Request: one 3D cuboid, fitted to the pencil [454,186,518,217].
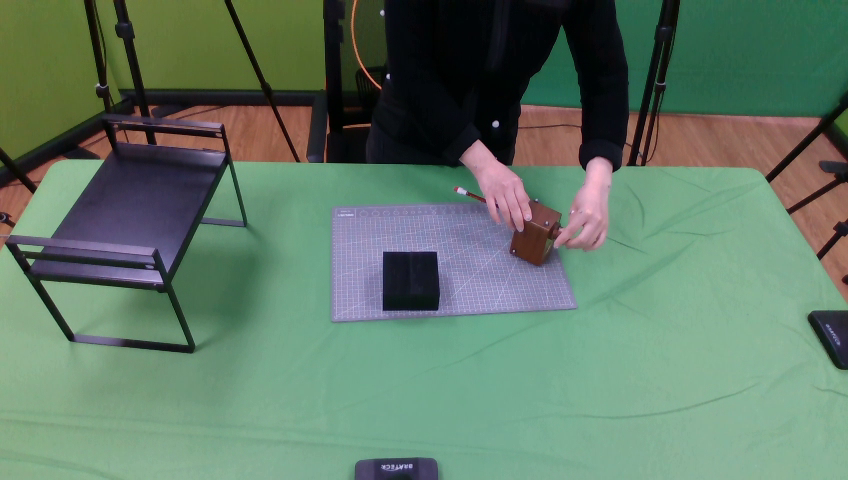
[{"bbox_3d":[0.141,-0.066,1.176,0.193,0.012,0.012,26,50,23],"label":"pencil"}]

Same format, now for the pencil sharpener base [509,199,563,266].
[{"bbox_3d":[0.216,-0.012,1.160,0.076,0.107,0.061,27,50,21],"label":"pencil sharpener base"}]

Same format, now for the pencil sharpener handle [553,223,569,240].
[{"bbox_3d":[0.254,-0.011,1.108,0.030,0.036,0.068,27,7,21],"label":"pencil sharpener handle"}]
